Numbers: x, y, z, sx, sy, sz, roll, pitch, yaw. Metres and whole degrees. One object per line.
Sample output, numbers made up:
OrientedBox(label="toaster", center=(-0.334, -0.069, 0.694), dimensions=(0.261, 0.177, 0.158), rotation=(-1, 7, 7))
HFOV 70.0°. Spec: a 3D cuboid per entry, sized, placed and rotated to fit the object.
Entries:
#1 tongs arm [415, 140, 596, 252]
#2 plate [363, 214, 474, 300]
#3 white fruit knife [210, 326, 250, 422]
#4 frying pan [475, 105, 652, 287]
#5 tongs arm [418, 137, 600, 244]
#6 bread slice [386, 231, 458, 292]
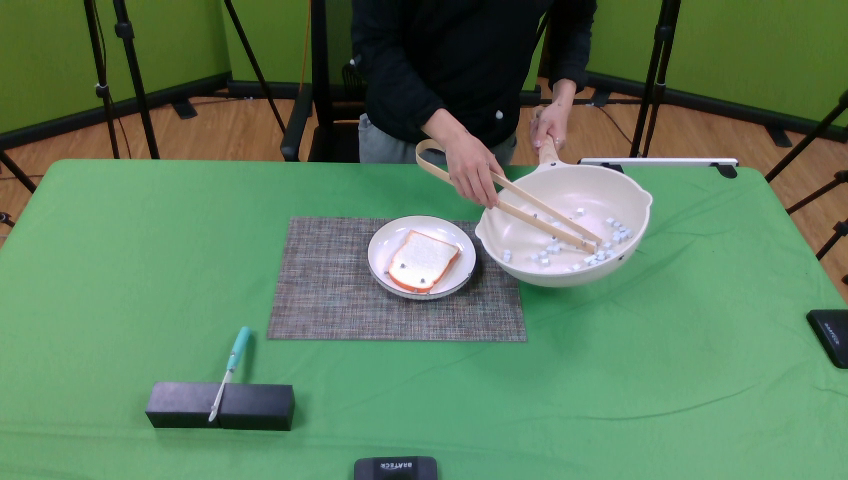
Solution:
OrientedBox(label="tongs arm", center=(0.140, -0.084, 1.105), dimensions=(0.383, 0.026, 0.050), rotation=(27, 65, 16))
OrientedBox(label="plate", center=(-0.010, 0.036, 1.146), dimensions=(0.208, 0.039, 0.206), rotation=(3, 46, -2))
OrientedBox(label="white fruit knife", center=(-0.301, 0.201, 0.942), dimensions=(0.016, 0.027, 0.206), rotation=(0, 32, -1))
OrientedBox(label="frying pan", center=(0.247, -0.103, 1.143), dimensions=(0.306, 0.103, 0.484), rotation=(-10, 49, 12))
OrientedBox(label="tongs arm", center=(0.150, -0.096, 1.112), dimensions=(0.386, 0.028, 0.028), rotation=(33, 70, 19))
OrientedBox(label="bread slice", center=(-0.007, 0.043, 1.142), dimensions=(0.107, 0.018, 0.134), rotation=(18, 46, 14))
